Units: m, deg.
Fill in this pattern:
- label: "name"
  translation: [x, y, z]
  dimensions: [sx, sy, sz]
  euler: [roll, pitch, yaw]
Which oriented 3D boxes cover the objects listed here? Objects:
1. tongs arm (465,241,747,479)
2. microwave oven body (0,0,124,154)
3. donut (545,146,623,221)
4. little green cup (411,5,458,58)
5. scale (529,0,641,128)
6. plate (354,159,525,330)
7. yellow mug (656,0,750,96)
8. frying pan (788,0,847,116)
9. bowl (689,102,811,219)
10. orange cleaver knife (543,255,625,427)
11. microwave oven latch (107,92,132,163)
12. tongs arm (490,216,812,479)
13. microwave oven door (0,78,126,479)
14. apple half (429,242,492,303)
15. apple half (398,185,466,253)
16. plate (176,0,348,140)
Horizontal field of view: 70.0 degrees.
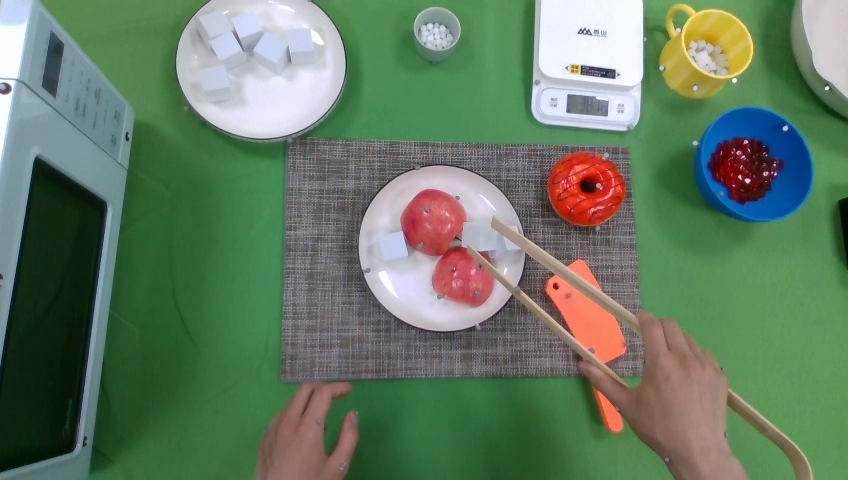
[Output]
- label: "tongs arm"
  translation: [0.193, 0.117, 0.599]
  dimensions: [0.051, 0.027, 0.382]
  euler: [-41, 71, -16]
- label: "microwave oven body"
  translation: [-0.508, 0.014, 0.571]
  dimensions: [0.326, 0.260, 0.440]
  euler: [3, 80, -6]
- label: "donut"
  translation: [0.204, -0.072, 0.775]
  dimensions: [0.099, 0.048, 0.098]
  euler: [1, 80, -4]
- label: "little green cup"
  translation: [0.013, -0.272, 0.799]
  dimensions: [0.061, 0.039, 0.061]
  euler: [1, 79, -5]
- label: "scale"
  translation: [0.219, -0.255, 0.821]
  dimensions: [0.149, 0.031, 0.200]
  euler: [5, 80, -5]
- label: "plate"
  translation: [0.019, 0.006, 0.744]
  dimensions: [0.209, 0.038, 0.208]
  euler: [1, 79, -6]
- label: "yellow mug"
  translation: [0.368, -0.268, 0.822]
  dimensions: [0.100, 0.064, 0.130]
  euler: [-32, 83, -10]
- label: "frying pan"
  translation: [0.694, -0.203, 0.826]
  dimensions: [0.307, 0.103, 0.485]
  euler: [-26, 75, -9]
- label: "bowl"
  translation: [0.406, -0.093, 0.788]
  dimensions: [0.151, 0.077, 0.151]
  euler: [1, 80, -6]
- label: "orange cleaver knife"
  translation: [0.212, 0.122, 0.753]
  dimensions: [0.077, 0.012, 0.210]
  euler: [-17, 80, -15]
- label: "microwave oven latch"
  translation: [-0.364, -0.133, 0.712]
  dimensions: [0.030, 0.029, 0.079]
  euler: [5, 80, -6]
- label: "tongs arm"
  translation: [0.212, 0.098, 0.607]
  dimensions: [0.385, 0.028, 0.028]
  euler: [40, 68, 17]
- label: "microwave oven door"
  translation: [-0.364, 0.062, 0.572]
  dimensions: [0.039, 0.244, 0.354]
  euler: [3, 79, -5]
- label: "apple half"
  translation: [0.047, 0.036, 0.734]
  dimensions: [0.081, 0.033, 0.081]
  euler: [0, 82, -2]
- label: "apple half"
  translation: [0.010, -0.030, 0.734]
  dimensions: [0.074, 0.053, 0.080]
  euler: [44, 77, 7]
- label: "plate"
  translation: [-0.201, -0.222, 0.766]
  dimensions: [0.208, 0.039, 0.206]
  euler: [1, 79, -6]
